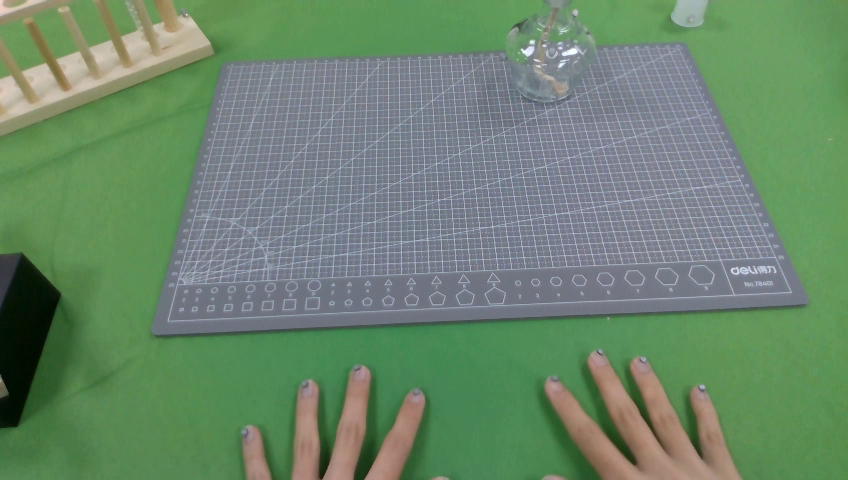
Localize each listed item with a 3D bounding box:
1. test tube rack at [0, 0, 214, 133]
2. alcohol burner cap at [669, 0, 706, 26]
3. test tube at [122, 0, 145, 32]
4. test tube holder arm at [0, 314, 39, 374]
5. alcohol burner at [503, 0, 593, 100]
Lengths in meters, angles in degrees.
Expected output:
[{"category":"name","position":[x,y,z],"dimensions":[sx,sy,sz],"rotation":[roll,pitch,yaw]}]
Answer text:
[{"category":"test tube rack","position":[-0.328,-0.178,0.546],"dimensions":[0.242,0.086,0.066],"rotation":[-29,57,-18]},{"category":"alcohol burner cap","position":[0.267,-0.241,0.603],"dimensions":[0.034,0.048,0.033],"rotation":[-1,53,2]},{"category":"test tube","position":[-0.280,-0.254,0.539],"dimensions":[0.017,0.151,0.017],"rotation":[-2,51,3]},{"category":"test tube holder arm","position":[-0.287,0.025,0.375],"dimensions":[0.177,0.015,0.013],"rotation":[33,63,25]},{"category":"alcohol burner","position":[0.108,-0.181,0.514],"dimensions":[0.078,0.120,0.077],"rotation":[0,51,1]}]
